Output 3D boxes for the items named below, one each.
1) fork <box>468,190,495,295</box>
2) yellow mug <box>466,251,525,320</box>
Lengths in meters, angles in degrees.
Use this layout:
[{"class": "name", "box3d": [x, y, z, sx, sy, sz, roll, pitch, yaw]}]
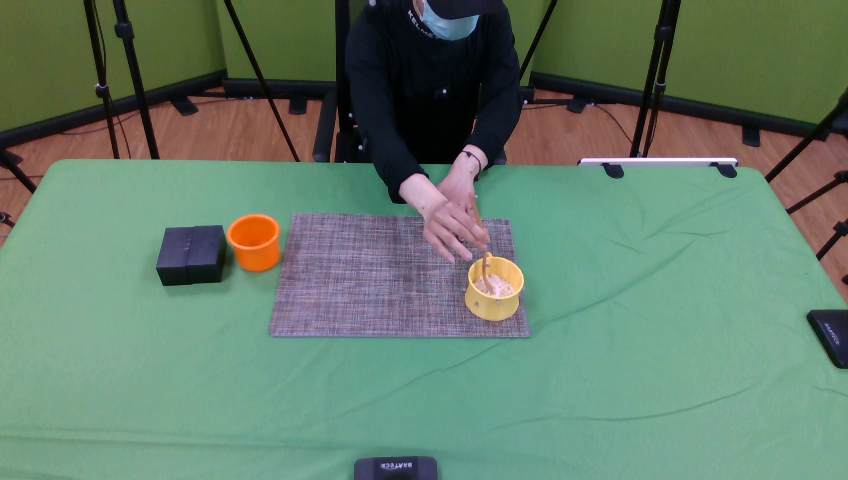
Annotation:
[{"class": "fork", "box3d": [0.101, 0.008, 1.051, 0.018, 0.208, 0.028, -8, 28, 7]}, {"class": "yellow mug", "box3d": [0.125, 0.074, 1.096, 0.100, 0.064, 0.130, -4, 45, -7]}]
